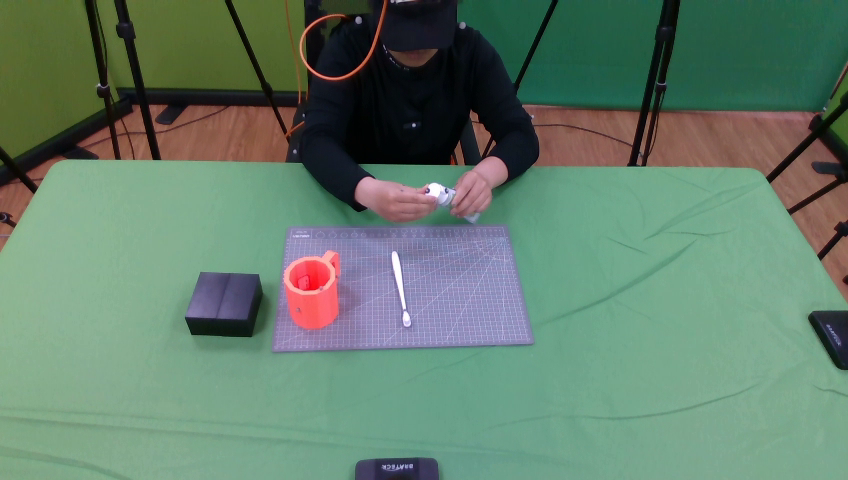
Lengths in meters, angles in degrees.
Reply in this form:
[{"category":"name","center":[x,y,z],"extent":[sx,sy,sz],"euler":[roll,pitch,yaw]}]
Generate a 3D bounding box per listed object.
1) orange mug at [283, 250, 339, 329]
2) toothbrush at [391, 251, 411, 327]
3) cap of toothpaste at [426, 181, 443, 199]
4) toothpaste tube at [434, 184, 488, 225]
[{"category":"orange mug","center":[-0.186,0.078,1.052],"extent":[0.083,0.101,0.126],"euler":[20,52,15]},{"category":"toothbrush","center":[-0.044,0.085,1.113],"extent":[0.014,0.017,0.180],"euler":[-13,46,0]},{"category":"cap of toothpaste","center":[0.019,-0.092,1.123],"extent":[0.037,0.011,0.037],"euler":[-12,68,33]},{"category":"toothpaste tube","center":[0.068,-0.074,1.183],"extent":[0.166,0.055,0.034],"euler":[23,21,-50]}]
